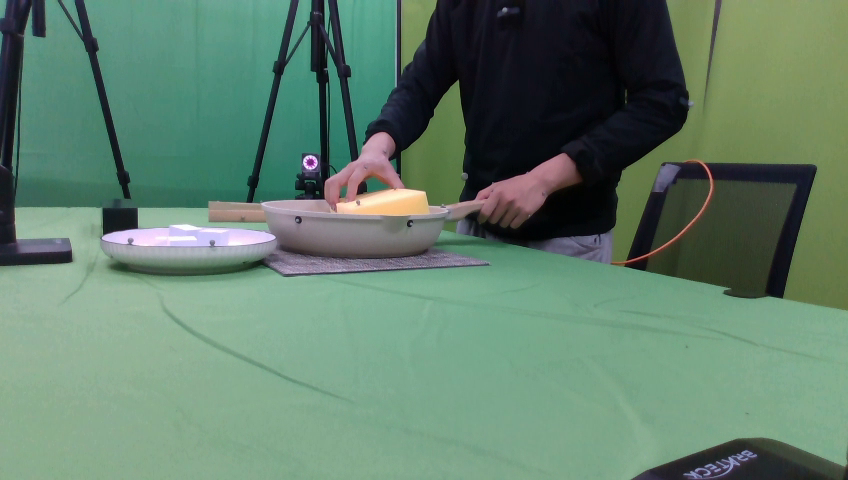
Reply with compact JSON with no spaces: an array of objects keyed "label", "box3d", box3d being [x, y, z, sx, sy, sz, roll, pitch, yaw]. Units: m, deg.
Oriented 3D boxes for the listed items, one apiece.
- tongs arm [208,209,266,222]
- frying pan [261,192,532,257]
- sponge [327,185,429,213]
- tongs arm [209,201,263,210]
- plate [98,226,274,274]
[{"label":"tongs arm","box3d":[-0.280,-0.056,1.355,0.389,0.028,0.028,-1,6,-28]},{"label":"frying pan","box3d":[-0.017,-0.043,1.006,0.490,0.102,0.305,-11,13,-26]},{"label":"sponge","box3d":[-0.078,-0.043,0.969,0.118,0.061,0.206,-14,12,-16]},{"label":"tongs arm","box3d":[-0.306,-0.071,1.430,0.386,0.026,0.050,1,8,-15]},{"label":"plate","box3d":[-0.301,0.012,0.778,0.208,0.039,0.207,3,7,0]}]
